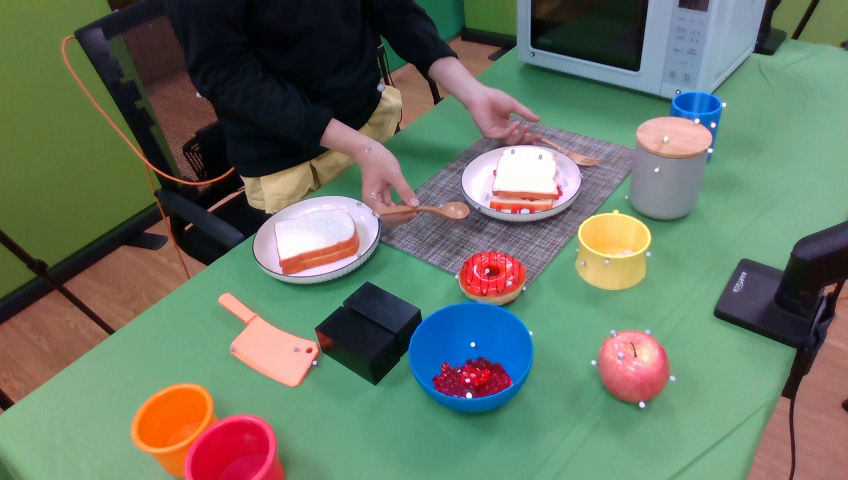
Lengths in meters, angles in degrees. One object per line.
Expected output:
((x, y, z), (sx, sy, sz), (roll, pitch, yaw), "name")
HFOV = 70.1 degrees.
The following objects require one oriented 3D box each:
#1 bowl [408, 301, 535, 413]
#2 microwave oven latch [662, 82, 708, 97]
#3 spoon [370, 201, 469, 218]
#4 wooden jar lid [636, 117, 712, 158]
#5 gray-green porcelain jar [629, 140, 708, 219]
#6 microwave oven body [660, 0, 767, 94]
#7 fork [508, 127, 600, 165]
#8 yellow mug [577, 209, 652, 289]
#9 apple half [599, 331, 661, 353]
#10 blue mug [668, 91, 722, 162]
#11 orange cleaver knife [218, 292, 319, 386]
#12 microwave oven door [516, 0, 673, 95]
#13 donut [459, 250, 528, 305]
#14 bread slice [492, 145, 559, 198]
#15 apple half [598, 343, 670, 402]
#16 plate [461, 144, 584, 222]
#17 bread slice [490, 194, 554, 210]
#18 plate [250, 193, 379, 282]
((0.060, 0.156, 0.739), (0.151, 0.077, 0.150), (-4, 40, 4), "bowl")
((0.518, -0.298, 1.202), (0.078, 0.029, 0.030), (28, 53, 35), "microwave oven latch")
((-0.004, -0.047, 0.916), (0.195, 0.021, 0.041), (-1, 41, -45), "spoon")
((0.377, -0.151, 0.917), (0.108, 0.021, 0.108), (-2, 42, 2), "wooden jar lid")
((0.383, -0.104, 0.958), (0.106, 0.127, 0.105), (-4, 41, 4), "gray-green porcelain jar")
((0.473, -0.516, 1.313), (0.438, 0.261, 0.327), (26, 51, 34), "microwave oven body")
((0.240, -0.180, 1.142), (0.028, 0.019, 0.205), (-39, 52, -25), "fork")
((0.279, 0.005, 0.893), (0.099, 0.064, 0.130), (5, 41, 15), "yellow mug")
((0.249, 0.134, 0.738), (0.081, 0.081, 0.032), (-1, 46, 7), "apple half")
((0.475, -0.207, 1.078), (0.082, 0.106, 0.116), (4, 42, 13), "blue mug")
((-0.235, 0.136, 0.850), (0.209, 0.012, 0.077), (25, 56, 30), "orange cleaver knife")
((0.344, -0.458, 1.256), (0.353, 0.245, 0.039), (26, 51, 33), "microwave oven door")
((0.100, 0.053, 0.873), (0.099, 0.048, 0.098), (-5, 40, 4), "donut")
((0.172, -0.118, 1.027), (0.107, 0.018, 0.134), (3, 43, 7), "bread slice")
((0.247, 0.161, 0.710), (0.081, 0.075, 0.053), (2, 47, 5), "apple half")
((0.168, -0.095, 1.040), (0.207, 0.039, 0.206), (-4, 40, 4), "plate")
((0.173, -0.098, 1.048), (0.104, 0.019, 0.131), (2, 43, 12), "bread slice")
((-0.174, 0.000, 0.984), (0.209, 0.038, 0.208), (-3, 40, 3), "plate")
